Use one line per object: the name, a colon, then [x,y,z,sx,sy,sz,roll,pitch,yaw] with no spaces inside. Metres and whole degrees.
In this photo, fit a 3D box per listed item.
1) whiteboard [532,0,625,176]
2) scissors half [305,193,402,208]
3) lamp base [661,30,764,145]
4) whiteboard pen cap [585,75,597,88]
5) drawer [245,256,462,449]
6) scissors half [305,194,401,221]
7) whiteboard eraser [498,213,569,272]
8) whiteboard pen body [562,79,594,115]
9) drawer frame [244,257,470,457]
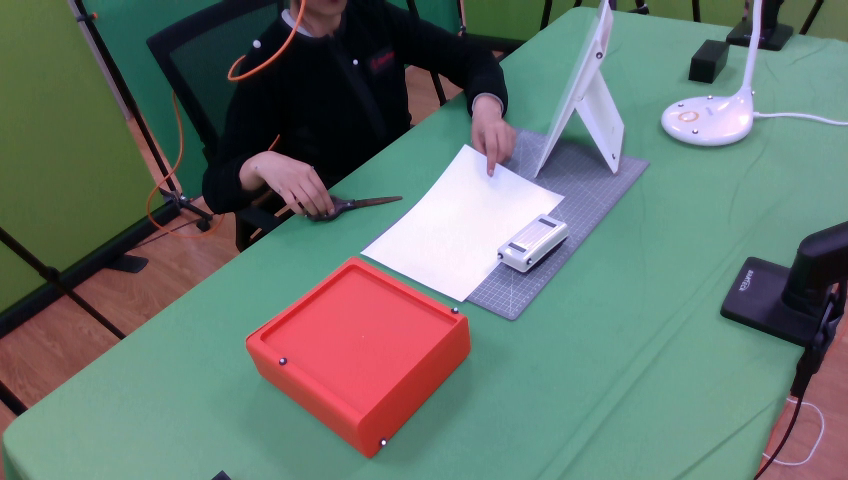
whiteboard: [0.320,-0.259,1.050,0.144,0.306,0.217,21,45,5]
scissors half: [-0.128,-0.074,1.100,0.175,0.013,0.040,-3,39,2]
lamp base: [0.535,-0.287,1.096,0.179,0.181,0.159,-10,40,-4]
whiteboard pen cap: [0.362,-0.343,1.310,0.018,0.018,0.033,20,54,29]
drawer: [-0.089,0.136,0.792,0.210,0.073,0.195,26,51,34]
scissors half: [-0.126,-0.061,1.085,0.176,0.013,0.040,-14,45,-9]
whiteboard eraser: [0.168,0.006,0.923,0.113,0.042,0.055,-36,49,-28]
whiteboard pen body: [0.328,-0.306,1.277,0.017,0.017,0.141,20,52,30]
drawer frame: [-0.084,0.138,0.788,0.212,0.083,0.202,25,50,33]
